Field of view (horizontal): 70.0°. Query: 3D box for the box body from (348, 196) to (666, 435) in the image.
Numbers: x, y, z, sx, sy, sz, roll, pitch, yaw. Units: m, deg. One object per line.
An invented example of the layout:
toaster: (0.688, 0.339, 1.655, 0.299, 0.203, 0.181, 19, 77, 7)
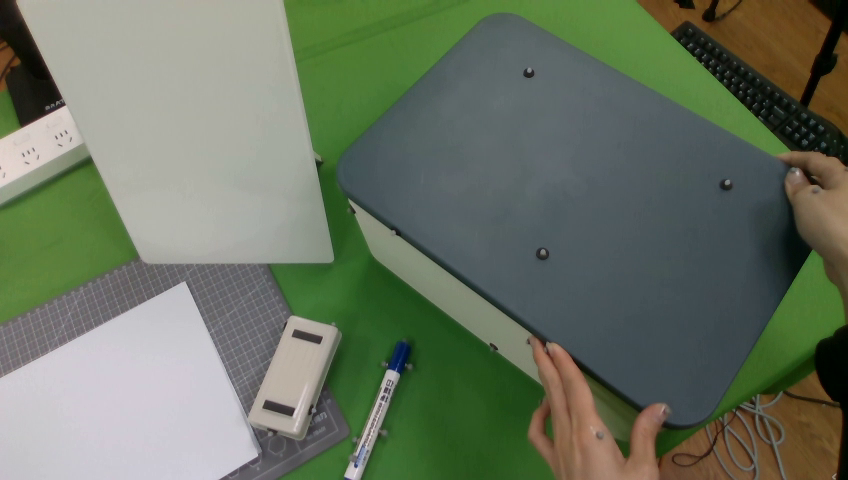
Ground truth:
box body: (0.135, -0.014, 0.599, 0.362, 0.161, 0.253, 35, 70, 18)

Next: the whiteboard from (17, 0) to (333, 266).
whiteboard: (-0.211, -0.132, 0.626, 0.217, 0.308, 0.142, 0, 43, 3)

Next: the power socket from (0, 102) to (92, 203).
power socket: (-0.455, -0.124, 0.749, 0.227, 0.033, 0.071, -33, 68, -14)

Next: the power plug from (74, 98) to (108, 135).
power plug: (-0.397, -0.139, 0.730, 0.035, 0.053, 0.072, -24, 71, -9)

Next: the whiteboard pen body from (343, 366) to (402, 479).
whiteboard pen body: (-0.046, 0.168, 0.600, 0.017, 0.017, 0.140, 18, 66, 11)

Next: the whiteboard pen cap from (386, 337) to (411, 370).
whiteboard pen cap: (-0.027, 0.118, 0.623, 0.018, 0.018, 0.033, 17, 67, 11)

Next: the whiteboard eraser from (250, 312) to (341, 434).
whiteboard eraser: (-0.126, 0.131, 0.603, 0.055, 0.042, 0.112, 13, 65, 10)

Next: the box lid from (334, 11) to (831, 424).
box lid: (0.130, -0.050, 0.527, 0.369, 0.015, 0.263, 36, 70, 17)
